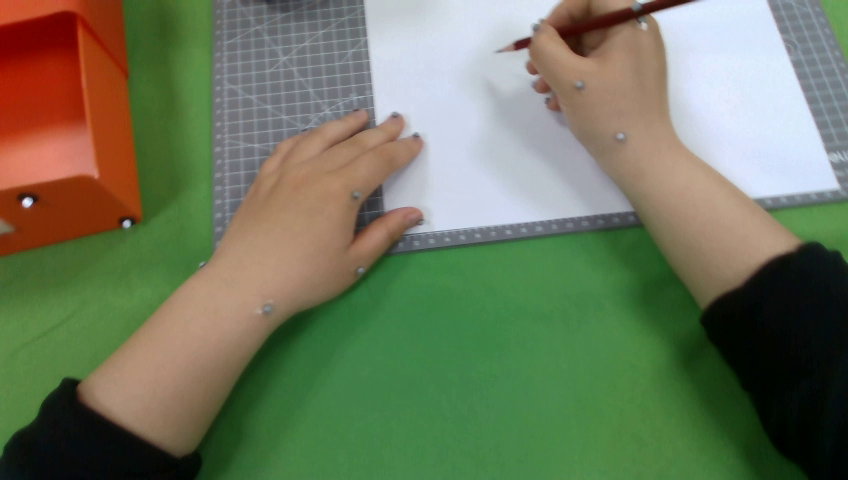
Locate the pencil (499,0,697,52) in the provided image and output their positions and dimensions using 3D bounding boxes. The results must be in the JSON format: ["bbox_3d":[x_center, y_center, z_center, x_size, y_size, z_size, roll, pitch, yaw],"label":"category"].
[{"bbox_3d":[0.114,-0.129,0.345,0.193,0.012,0.012,2,61,50],"label":"pencil"}]

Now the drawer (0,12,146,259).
[{"bbox_3d":[-0.299,-0.089,0.392,0.194,0.074,0.210,-15,70,-3],"label":"drawer"}]

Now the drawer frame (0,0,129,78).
[{"bbox_3d":[-0.330,-0.195,0.430,0.202,0.083,0.212,-14,69,-3],"label":"drawer frame"}]
